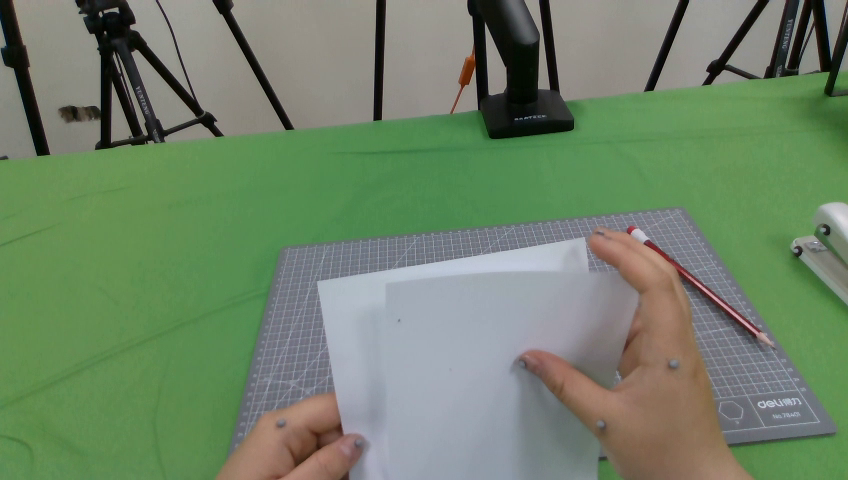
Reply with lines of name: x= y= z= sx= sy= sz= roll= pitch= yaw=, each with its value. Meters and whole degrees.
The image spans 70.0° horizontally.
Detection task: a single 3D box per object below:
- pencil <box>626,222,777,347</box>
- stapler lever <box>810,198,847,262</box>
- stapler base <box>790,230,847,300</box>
pencil: x=0.252 y=0.036 z=0.566 sx=0.012 sy=0.012 sz=0.192 roll=-18 pitch=39 yaw=-14
stapler lever: x=0.388 y=0.007 z=0.536 sx=0.027 sy=0.040 sz=0.117 roll=-11 pitch=39 yaw=-2
stapler base: x=0.390 y=0.026 z=0.553 sx=0.041 sy=0.025 sz=0.129 roll=-11 pitch=39 yaw=-2
